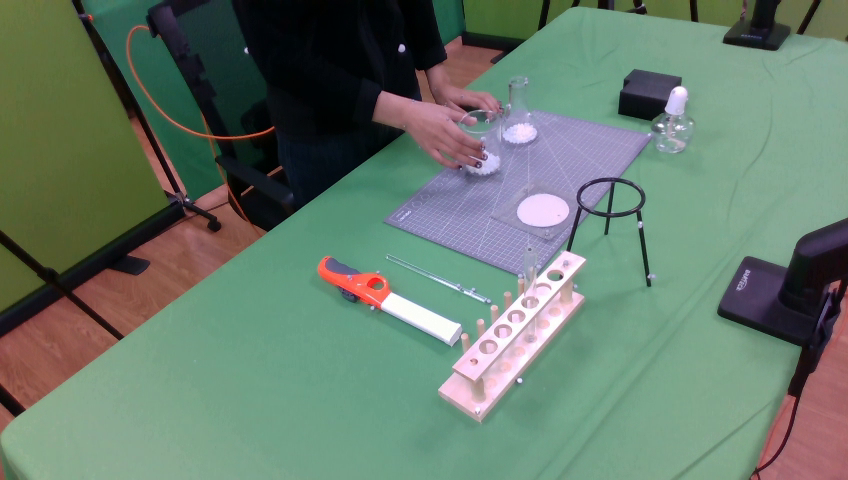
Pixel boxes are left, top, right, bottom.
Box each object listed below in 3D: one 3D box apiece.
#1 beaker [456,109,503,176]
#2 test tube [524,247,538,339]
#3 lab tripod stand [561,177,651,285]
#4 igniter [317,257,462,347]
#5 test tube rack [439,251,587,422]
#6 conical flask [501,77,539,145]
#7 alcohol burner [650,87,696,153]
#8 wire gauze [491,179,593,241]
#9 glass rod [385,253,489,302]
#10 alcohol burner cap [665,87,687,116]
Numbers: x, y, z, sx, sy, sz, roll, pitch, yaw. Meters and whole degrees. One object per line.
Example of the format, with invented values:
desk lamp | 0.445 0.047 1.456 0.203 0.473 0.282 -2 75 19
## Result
beaker | 0.103 -0.173 1.094 0.084 0.101 0.073 -2 43 8
test tube | 0.133 0.070 0.749 0.017 0.151 0.017 -5 38 4
lab tripod stand | 0.263 -0.014 0.864 0.148 0.132 0.147 -7 38 6
igniter | -0.061 0.086 0.891 0.274 0.025 0.057 23 59 33
test tube rack | 0.118 0.111 0.780 0.066 0.085 0.243 26 51 34
conical flask | 0.183 -0.250 1.163 0.075 0.122 0.075 -6 40 5
alcohol burner | 0.448 -0.217 1.084 0.078 0.119 0.077 -6 38 5
wire gauze | 0.198 -0.051 1.014 0.125 0.011 0.120 -38 48 -27
glass rod | 0.016 0.055 0.927 0.198 0.008 0.008 23 50 32
alcohol burner cap | 0.445 -0.244 1.060 0.034 0.048 0.033 -2 45 3
